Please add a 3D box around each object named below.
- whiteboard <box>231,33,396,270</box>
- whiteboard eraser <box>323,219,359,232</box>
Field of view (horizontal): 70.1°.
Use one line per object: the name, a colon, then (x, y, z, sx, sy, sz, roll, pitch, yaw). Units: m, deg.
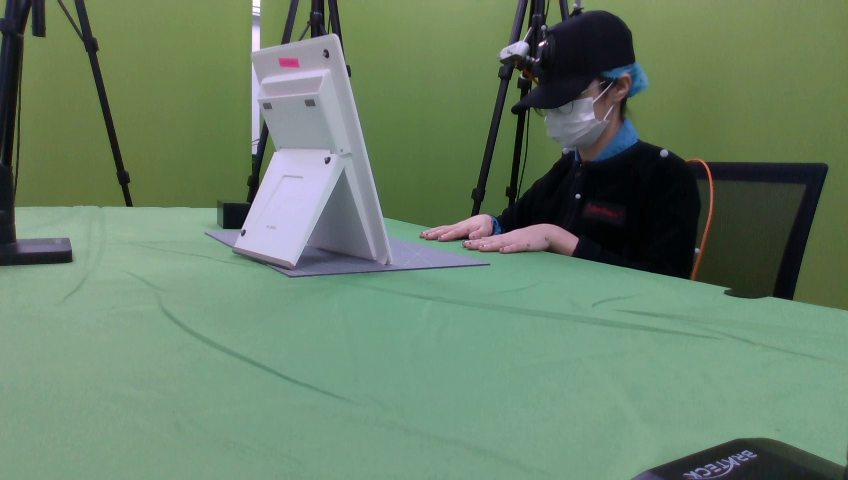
whiteboard: (-0.193, -0.094, 0.805, 0.144, 0.305, 0.216, -29, 25, -35)
whiteboard eraser: (-0.162, -0.030, 1.195, 0.041, 0.019, 0.101, 5, 8, 21)
